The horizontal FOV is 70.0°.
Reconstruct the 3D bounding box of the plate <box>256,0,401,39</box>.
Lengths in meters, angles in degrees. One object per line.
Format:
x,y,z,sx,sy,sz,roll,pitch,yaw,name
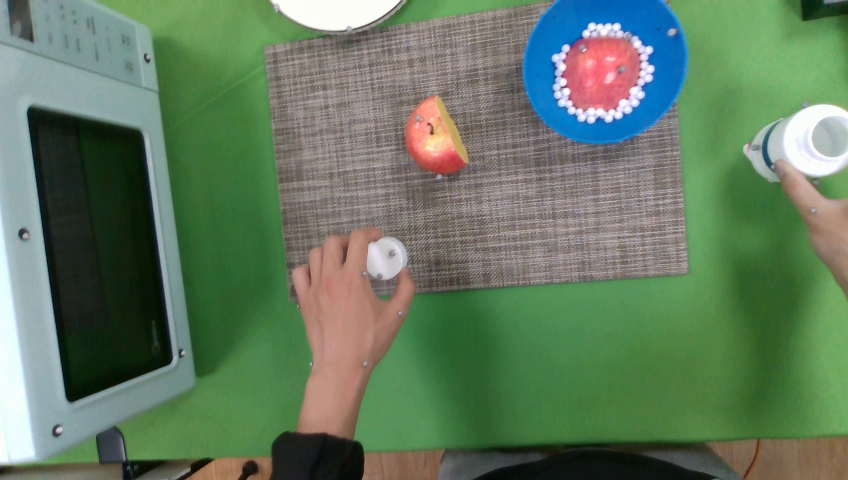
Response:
-0.101,-0.326,0.676,0.207,0.039,0.207,1,94,11,plate

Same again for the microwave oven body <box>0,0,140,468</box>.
-0.481,-0.011,0.651,0.325,0.260,0.441,-7,92,11,microwave oven body

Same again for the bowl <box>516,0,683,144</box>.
0.170,-0.167,0.606,0.151,0.077,0.151,1,93,12,bowl

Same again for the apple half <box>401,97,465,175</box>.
0.005,-0.104,0.645,0.053,0.074,0.081,-25,92,15,apple half

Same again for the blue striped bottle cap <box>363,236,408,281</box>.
-0.040,0.019,0.620,0.044,0.020,0.044,2,99,12,blue striped bottle cap

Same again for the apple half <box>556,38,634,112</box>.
0.170,-0.166,0.601,0.081,0.033,0.081,0,92,12,apple half

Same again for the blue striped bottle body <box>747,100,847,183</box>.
0.345,-0.089,0.556,0.063,0.121,0.063,0,89,15,blue striped bottle body

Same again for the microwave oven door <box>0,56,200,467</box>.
-0.335,0.013,0.619,0.039,0.244,0.355,-8,91,12,microwave oven door

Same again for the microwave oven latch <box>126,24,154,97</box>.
-0.341,-0.208,0.711,0.030,0.029,0.079,-7,92,11,microwave oven latch
